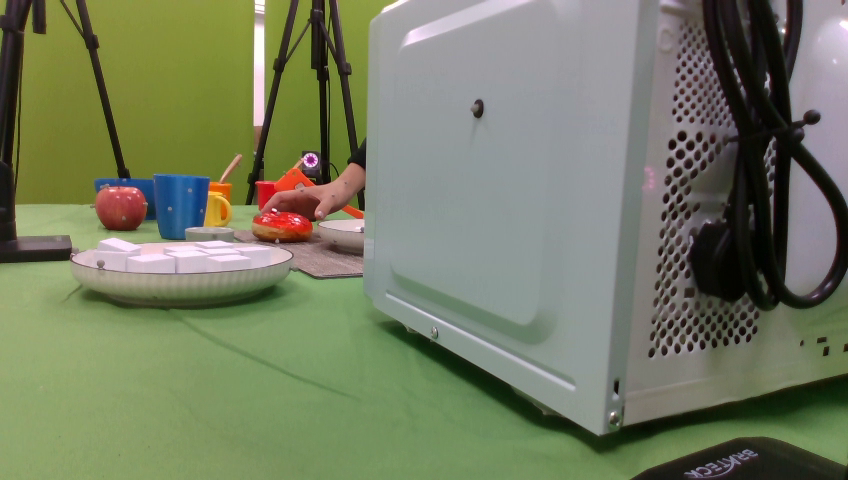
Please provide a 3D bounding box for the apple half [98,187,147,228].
[{"bbox_3d":[-0.534,-0.059,1.071,0.082,0.081,0.032,-1,12,-25],"label":"apple half"}]

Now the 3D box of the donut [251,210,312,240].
[{"bbox_3d":[-0.231,-0.022,0.983,0.099,0.048,0.099,4,6,0],"label":"donut"}]

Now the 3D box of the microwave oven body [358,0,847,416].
[{"bbox_3d":[0.211,-0.047,0.474,0.444,0.260,0.324,-1,7,-28],"label":"microwave oven body"}]

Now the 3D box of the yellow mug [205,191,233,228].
[{"bbox_3d":[-0.415,-0.057,1.132,0.130,0.064,0.100,6,8,16],"label":"yellow mug"}]

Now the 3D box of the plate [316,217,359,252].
[{"bbox_3d":[-0.064,-0.007,0.943,0.209,0.038,0.209,3,8,0],"label":"plate"}]

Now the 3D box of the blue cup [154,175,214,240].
[{"bbox_3d":[-0.390,-0.053,0.978,0.093,0.100,0.092,3,6,0],"label":"blue cup"}]

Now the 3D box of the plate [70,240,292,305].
[{"bbox_3d":[-0.242,0.031,0.618,0.208,0.039,0.207,2,8,0],"label":"plate"}]

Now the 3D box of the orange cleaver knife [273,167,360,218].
[{"bbox_3d":[-0.238,-0.091,1.381,0.212,0.077,0.012,31,0,-19],"label":"orange cleaver knife"}]

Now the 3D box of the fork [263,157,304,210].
[{"bbox_3d":[-0.345,-0.143,1.505,0.028,0.019,0.207,-4,46,28],"label":"fork"}]

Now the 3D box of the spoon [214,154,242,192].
[{"bbox_3d":[-0.439,-0.124,1.317,0.041,0.193,0.022,5,-37,16],"label":"spoon"}]

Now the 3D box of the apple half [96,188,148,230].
[{"bbox_3d":[-0.517,-0.052,1.036,0.081,0.074,0.053,3,10,-26],"label":"apple half"}]

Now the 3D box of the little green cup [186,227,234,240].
[{"bbox_3d":[-0.285,0.005,0.805,0.061,0.038,0.061,2,8,0],"label":"little green cup"}]

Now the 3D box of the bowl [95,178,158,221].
[{"bbox_3d":[-0.576,-0.081,1.217,0.151,0.077,0.151,3,8,0],"label":"bowl"}]

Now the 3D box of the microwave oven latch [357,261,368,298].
[{"bbox_3d":[-0.019,0.033,0.530,0.079,0.029,0.030,-1,7,-26],"label":"microwave oven latch"}]

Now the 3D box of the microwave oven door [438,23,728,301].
[{"bbox_3d":[0.181,-0.072,0.621,0.358,0.243,0.039,-2,8,-29],"label":"microwave oven door"}]
